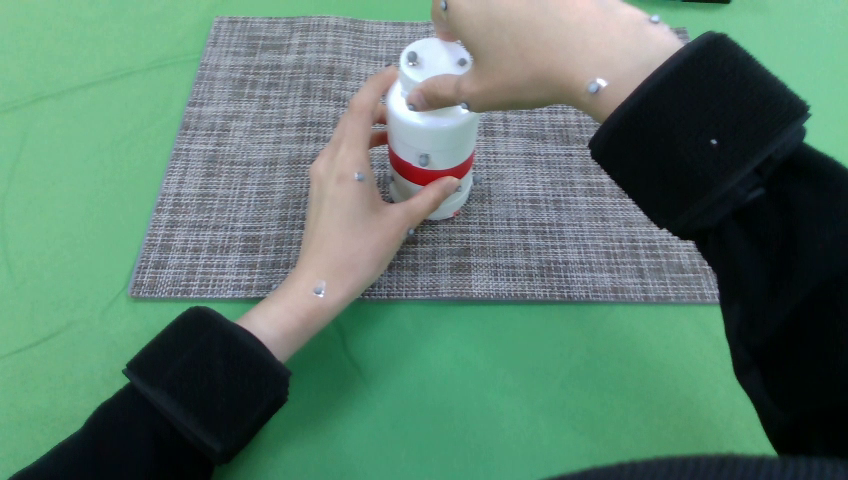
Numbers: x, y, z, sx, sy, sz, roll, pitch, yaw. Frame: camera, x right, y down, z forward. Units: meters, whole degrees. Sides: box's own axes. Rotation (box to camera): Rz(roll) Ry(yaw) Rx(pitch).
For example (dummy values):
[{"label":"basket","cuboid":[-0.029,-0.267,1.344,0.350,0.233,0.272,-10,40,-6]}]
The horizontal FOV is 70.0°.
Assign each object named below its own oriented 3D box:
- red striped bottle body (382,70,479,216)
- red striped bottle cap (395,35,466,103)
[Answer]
[{"label":"red striped bottle body","cuboid":[0.004,-0.075,0.415,0.063,0.120,0.062,1,56,-1]},{"label":"red striped bottle cap","cuboid":[0.004,-0.106,0.372,0.044,0.018,0.044,2,59,-2]}]
